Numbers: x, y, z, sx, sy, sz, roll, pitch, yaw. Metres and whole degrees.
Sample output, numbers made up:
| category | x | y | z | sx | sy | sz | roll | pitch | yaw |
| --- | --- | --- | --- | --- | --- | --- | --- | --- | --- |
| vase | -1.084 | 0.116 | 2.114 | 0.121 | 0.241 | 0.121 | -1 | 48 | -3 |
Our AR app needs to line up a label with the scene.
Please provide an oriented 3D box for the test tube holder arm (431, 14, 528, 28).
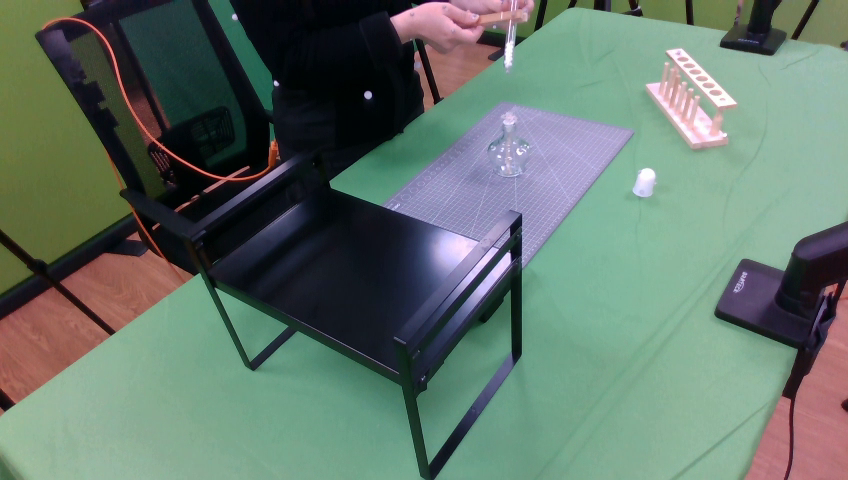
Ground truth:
| category | x | y | z | sx | sy | sz | roll | pitch | yaw |
| --- | --- | --- | --- | --- | --- | --- | --- | --- | --- |
| test tube holder arm | 0.090 | -0.365 | 1.011 | 0.177 | 0.015 | 0.013 | 9 | 5 | 32 |

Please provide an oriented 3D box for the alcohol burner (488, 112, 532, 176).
| category | x | y | z | sx | sy | sz | roll | pitch | yaw |
| --- | --- | --- | --- | --- | --- | --- | --- | --- | --- |
| alcohol burner | 0.155 | -0.176 | 1.083 | 0.078 | 0.119 | 0.077 | -3 | 41 | 3 |

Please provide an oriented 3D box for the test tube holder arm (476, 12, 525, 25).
| category | x | y | z | sx | sy | sz | roll | pitch | yaw |
| --- | --- | --- | --- | --- | --- | --- | --- | --- | --- |
| test tube holder arm | 0.123 | -0.359 | 0.981 | 0.087 | 0.015 | 0.010 | 10 | 6 | 39 |

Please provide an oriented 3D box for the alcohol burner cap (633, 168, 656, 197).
| category | x | y | z | sx | sy | sz | roll | pitch | yaw |
| --- | --- | --- | --- | --- | --- | --- | --- | --- | --- |
| alcohol burner cap | 0.374 | -0.099 | 1.018 | 0.034 | 0.048 | 0.033 | -1 | 42 | 1 |

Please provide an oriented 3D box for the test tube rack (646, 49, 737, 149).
| category | x | y | z | sx | sy | sz | roll | pitch | yaw |
| --- | --- | --- | --- | --- | --- | --- | --- | --- | --- |
| test tube rack | 0.511 | -0.280 | 1.175 | 0.067 | 0.085 | 0.241 | -8 | 41 | 1 |

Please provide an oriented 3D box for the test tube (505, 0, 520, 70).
| category | x | y | z | sx | sy | sz | roll | pitch | yaw |
| --- | --- | --- | --- | --- | --- | --- | --- | --- | --- |
| test tube | 0.143 | -0.349 | 0.972 | 0.017 | 0.150 | 0.017 | 5 | 4 | 0 |
